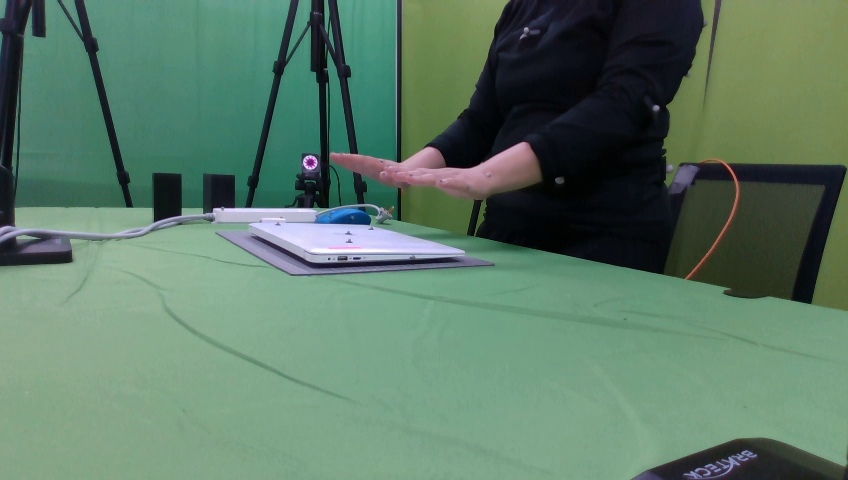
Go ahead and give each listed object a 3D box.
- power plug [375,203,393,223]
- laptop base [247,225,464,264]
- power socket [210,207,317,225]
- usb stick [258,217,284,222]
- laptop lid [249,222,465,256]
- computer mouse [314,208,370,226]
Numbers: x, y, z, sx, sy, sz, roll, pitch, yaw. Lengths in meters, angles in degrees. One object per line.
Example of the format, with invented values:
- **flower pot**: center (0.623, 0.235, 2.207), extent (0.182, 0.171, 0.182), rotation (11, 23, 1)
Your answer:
- **power plug**: center (-0.096, -0.069, 1.412), extent (0.035, 0.052, 0.072), rotation (36, 11, -29)
- **laptop base**: center (-0.124, 0.006, 0.955), extent (0.237, 0.023, 0.352), rotation (2, 6, -30)
- **power socket**: center (-0.335, -0.051, 1.281), extent (0.228, 0.032, 0.072), rotation (-1, 9, -29)
- **usb stick**: center (-0.291, -0.028, 1.118), extent (0.059, 0.027, 0.021), rotation (-3, 13, -29)
- **laptop lid**: center (-0.121, -0.005, 0.955), extent (0.243, 0.013, 0.355), rotation (2, 7, -28)
- **computer mouse**: center (-0.175, -0.046, 1.292), extent (0.118, 0.041, 0.062), rotation (-7, 14, -34)
